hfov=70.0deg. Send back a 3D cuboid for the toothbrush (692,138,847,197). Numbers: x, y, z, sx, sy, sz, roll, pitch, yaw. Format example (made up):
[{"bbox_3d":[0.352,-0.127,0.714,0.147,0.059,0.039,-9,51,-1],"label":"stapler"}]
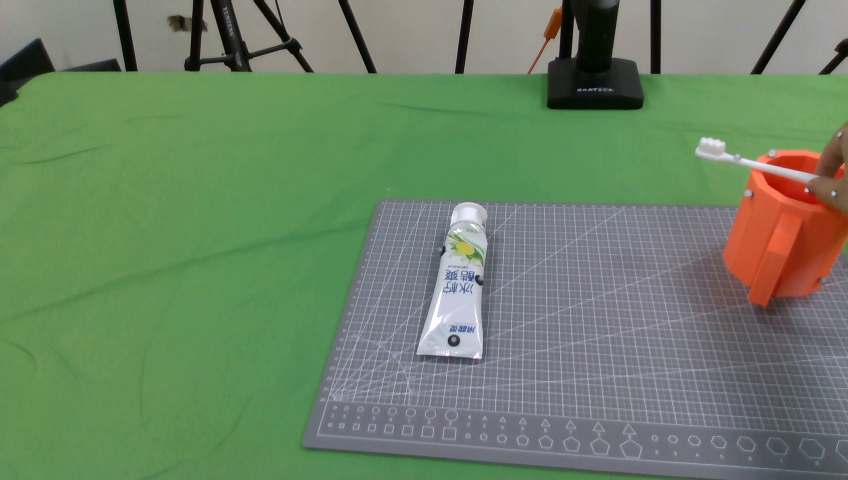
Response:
[{"bbox_3d":[0.305,-0.050,0.478,0.180,0.017,0.014,23,45,28],"label":"toothbrush"}]

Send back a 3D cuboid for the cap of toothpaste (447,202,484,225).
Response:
[{"bbox_3d":[0.041,-0.023,0.596,0.037,0.038,0.011,5,49,11],"label":"cap of toothpaste"}]

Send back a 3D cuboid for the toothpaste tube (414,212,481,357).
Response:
[{"bbox_3d":[0.028,0.033,0.545,0.055,0.035,0.163,-1,46,11],"label":"toothpaste tube"}]

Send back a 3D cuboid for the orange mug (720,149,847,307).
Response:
[{"bbox_3d":[0.301,-0.005,0.507,0.083,0.102,0.126,23,45,28],"label":"orange mug"}]
